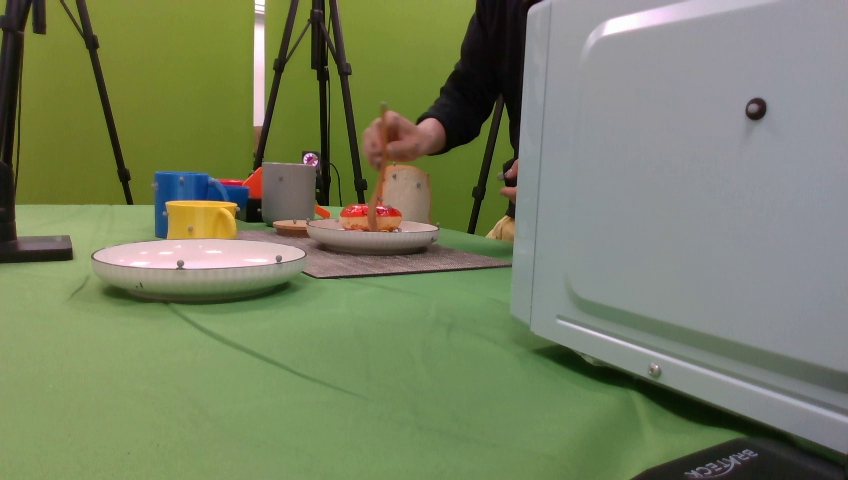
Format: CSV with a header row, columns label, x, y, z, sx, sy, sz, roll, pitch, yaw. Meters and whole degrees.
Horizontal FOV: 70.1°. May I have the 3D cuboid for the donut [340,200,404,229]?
label,x,y,z,sx,sy,sz,roll,pitch,yaw
donut,-0.081,-0.038,0.944,0.099,0.048,0.099,0,7,0

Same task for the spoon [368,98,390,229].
label,x,y,z,sx,sy,sz,roll,pitch,yaw
spoon,-0.060,-0.102,0.860,0.021,0.193,0.041,10,12,1

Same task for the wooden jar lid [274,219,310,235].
label,x,y,z,sx,sy,sz,roll,pitch,yaw
wooden jar lid,-0.213,-0.023,1.080,0.108,0.020,0.108,3,7,0

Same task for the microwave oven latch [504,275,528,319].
label,x,y,z,sx,sy,sz,roll,pitch,yaw
microwave oven latch,0.100,0.041,0.471,0.079,0.029,0.030,-1,7,-29

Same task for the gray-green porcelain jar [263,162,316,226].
label,x,y,z,sx,sy,sz,roll,pitch,yaw
gray-green porcelain jar,-0.271,-0.092,1.217,0.106,0.126,0.106,2,7,0

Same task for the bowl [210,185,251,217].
label,x,y,z,sx,sy,sz,roll,pitch,yaw
bowl,-0.408,-0.064,1.155,0.151,0.077,0.151,2,8,0

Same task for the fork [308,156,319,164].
label,x,y,z,sx,sy,sz,roll,pitch,yaw
fork,-0.331,-0.144,1.506,0.207,0.018,0.028,-42,-19,22

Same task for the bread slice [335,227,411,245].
label,x,y,z,sx,sy,sz,roll,pitch,yaw
bread slice,-0.074,-0.007,0.938,0.105,0.019,0.131,-1,7,-19

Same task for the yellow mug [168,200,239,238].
label,x,y,z,sx,sy,sz,roll,pitch,yaw
yellow mug,-0.319,-0.023,0.904,0.130,0.064,0.100,9,11,36

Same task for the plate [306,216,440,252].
label,x,y,z,sx,sy,sz,roll,pitch,yaw
plate,-0.079,-0.011,0.950,0.209,0.038,0.209,2,8,0

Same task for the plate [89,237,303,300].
label,x,y,z,sx,sy,sz,roll,pitch,yaw
plate,-0.233,0.029,0.637,0.208,0.039,0.207,2,7,0

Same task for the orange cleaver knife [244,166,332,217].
label,x,y,z,sx,sy,sz,roll,pitch,yaw
orange cleaver knife,-0.301,-0.089,1.351,0.212,0.077,0.012,32,-11,-34

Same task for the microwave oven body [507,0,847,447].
label,x,y,z,sx,sy,sz,roll,pitch,yaw
microwave oven body,0.331,-0.042,0.425,0.444,0.260,0.324,-2,8,-31

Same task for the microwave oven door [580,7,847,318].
label,x,y,z,sx,sy,sz,roll,pitch,yaw
microwave oven door,0.295,-0.067,0.570,0.358,0.243,0.039,-3,8,-31

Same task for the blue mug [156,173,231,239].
label,x,y,z,sx,sy,sz,roll,pitch,yaw
blue mug,-0.381,-0.057,1.004,0.117,0.106,0.082,0,8,-12

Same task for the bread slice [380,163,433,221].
label,x,y,z,sx,sy,sz,roll,pitch,yaw
bread slice,-0.035,-0.076,1.123,0.107,0.134,0.018,-3,0,-26
